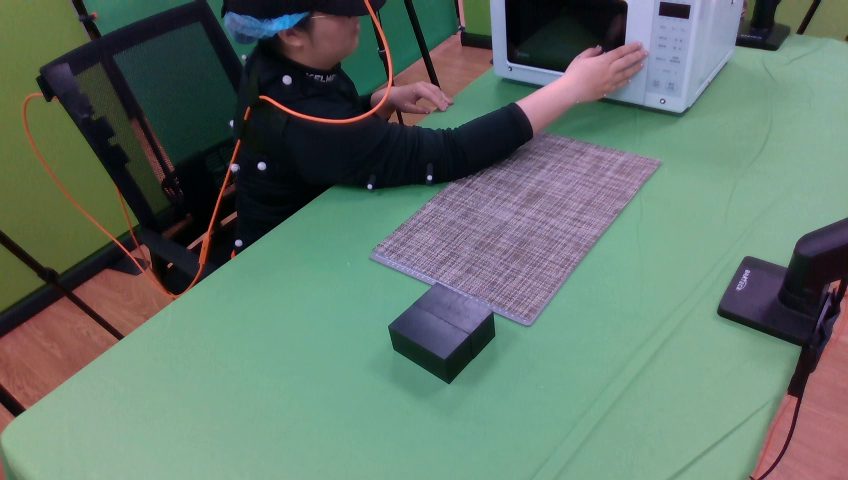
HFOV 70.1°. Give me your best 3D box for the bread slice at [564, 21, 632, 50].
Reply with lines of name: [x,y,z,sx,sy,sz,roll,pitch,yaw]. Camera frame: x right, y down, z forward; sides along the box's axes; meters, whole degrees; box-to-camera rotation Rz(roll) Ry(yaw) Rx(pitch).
bread slice: [0.394,-0.455,1.344,0.105,0.019,0.130,-35,44,-26]

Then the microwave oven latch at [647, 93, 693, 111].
microwave oven latch: [0.478,-0.274,1.177,0.078,0.029,0.030,23,50,34]

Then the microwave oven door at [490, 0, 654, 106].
microwave oven door: [0.293,-0.420,1.228,0.353,0.245,0.039,22,49,32]

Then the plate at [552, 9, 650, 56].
plate: [0.390,-0.456,1.339,0.209,0.038,0.208,-6,39,5]

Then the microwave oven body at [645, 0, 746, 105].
microwave oven body: [0.417,-0.486,1.290,0.438,0.261,0.327,21,50,33]
